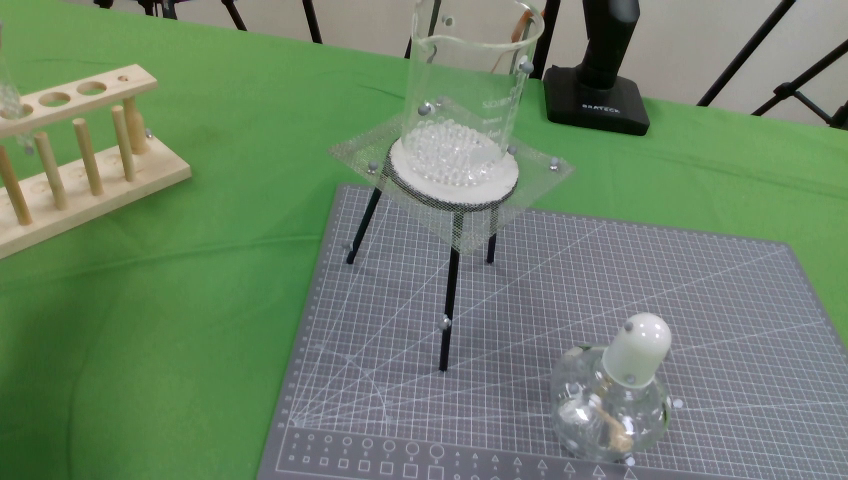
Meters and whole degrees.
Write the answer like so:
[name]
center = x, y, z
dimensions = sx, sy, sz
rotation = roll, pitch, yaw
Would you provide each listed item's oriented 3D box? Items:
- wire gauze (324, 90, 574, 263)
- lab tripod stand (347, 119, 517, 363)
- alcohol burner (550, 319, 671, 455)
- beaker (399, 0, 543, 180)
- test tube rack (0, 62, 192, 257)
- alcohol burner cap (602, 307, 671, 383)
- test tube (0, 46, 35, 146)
[wire gauze]
center = 0.018, -0.053, 0.399
dimensions = 0.124, 0.011, 0.121
rotation = 39, 53, 22
[lab tripod stand]
center = 0.012, -0.006, 0.444
dimensions = 0.149, 0.132, 0.147
rotation = 7, 45, -6
[alcohol burner]
center = 0.123, 0.085, 0.384
dimensions = 0.078, 0.120, 0.077
rotation = 6, 43, -6
[beaker]
center = 0.021, -0.093, 0.368
dimensions = 0.084, 0.101, 0.073
rotation = -27, 56, -30
[test tube rack]
center = -0.313, -0.053, 0.470
dimensions = 0.066, 0.086, 0.242
rotation = 36, 49, 25
[alcohol burner cap]
center = 0.128, 0.060, 0.358
dimensions = 0.034, 0.048, 0.033
rotation = 3, 48, -2
[test tube]
center = -0.308, -0.132, 0.430
dimensions = 0.017, 0.151, 0.017
rotation = 4, 42, -3
